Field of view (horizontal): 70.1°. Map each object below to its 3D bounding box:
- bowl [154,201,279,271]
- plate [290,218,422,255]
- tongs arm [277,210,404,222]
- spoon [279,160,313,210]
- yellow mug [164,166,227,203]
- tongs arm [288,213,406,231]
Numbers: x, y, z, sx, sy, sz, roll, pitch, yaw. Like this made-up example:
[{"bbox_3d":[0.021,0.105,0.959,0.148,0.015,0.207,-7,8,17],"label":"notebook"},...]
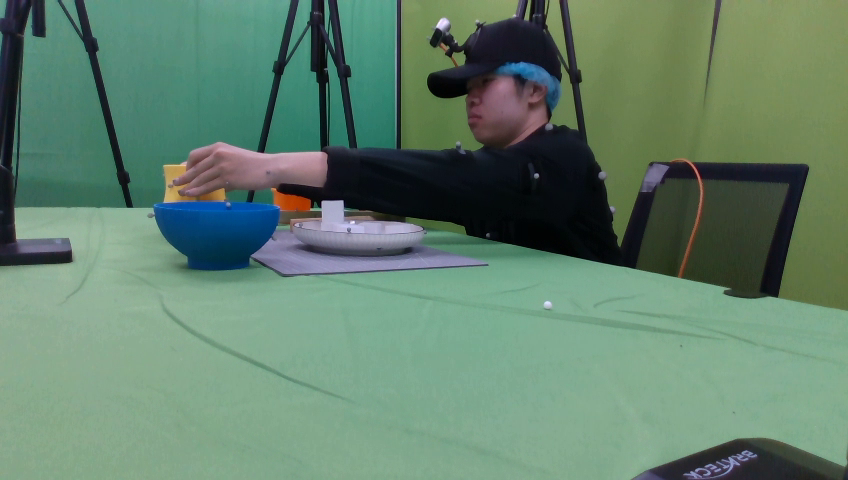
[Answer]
[{"bbox_3d":[-0.263,-0.005,0.773,0.151,0.077,0.151,3,8,0],"label":"bowl"},{"bbox_3d":[-0.107,-0.006,0.963,0.208,0.039,0.207,2,8,0],"label":"plate"},{"bbox_3d":[-0.205,-0.051,1.331,0.387,0.026,0.050,-1,7,-43],"label":"tongs arm"},{"bbox_3d":[-0.286,-0.118,1.372,0.041,0.193,0.022,5,-37,15],"label":"spoon"},{"bbox_3d":[-0.382,-0.091,1.015,0.100,0.064,0.130,-1,6,-22],"label":"yellow mug"},{"bbox_3d":[-0.145,-0.040,1.277,0.028,0.028,0.389,3,4,33],"label":"tongs arm"}]
